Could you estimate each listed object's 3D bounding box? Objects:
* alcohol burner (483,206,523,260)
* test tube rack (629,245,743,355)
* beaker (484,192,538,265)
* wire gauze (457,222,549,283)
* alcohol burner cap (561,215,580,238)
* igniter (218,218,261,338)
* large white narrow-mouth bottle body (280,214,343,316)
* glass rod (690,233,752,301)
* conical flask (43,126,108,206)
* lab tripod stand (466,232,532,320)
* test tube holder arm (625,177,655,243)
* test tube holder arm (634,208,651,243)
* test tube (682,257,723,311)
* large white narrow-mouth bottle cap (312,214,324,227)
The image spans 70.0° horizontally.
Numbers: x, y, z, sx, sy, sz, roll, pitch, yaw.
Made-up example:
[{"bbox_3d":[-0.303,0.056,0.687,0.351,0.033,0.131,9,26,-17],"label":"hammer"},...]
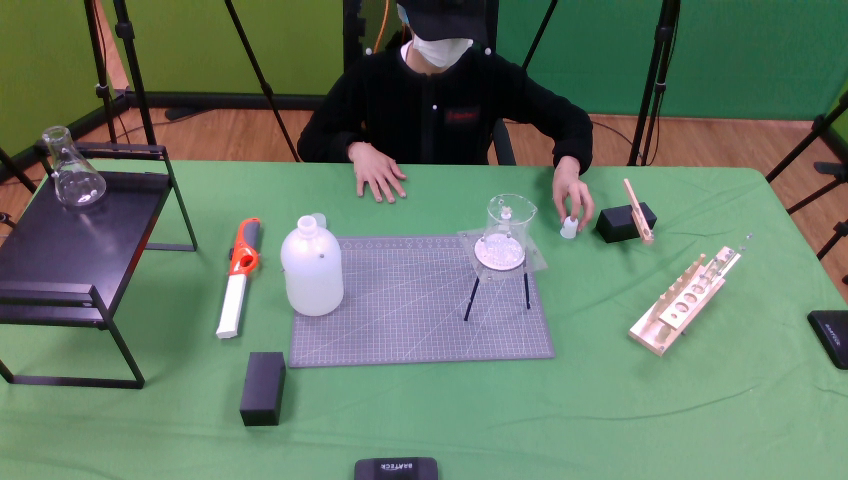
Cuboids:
[{"bbox_3d":[0.152,-0.018,1.156,0.078,0.120,0.077,0,47,0],"label":"alcohol burner"},{"bbox_3d":[0.474,0.095,1.091,0.242,0.085,0.066,-34,56,-31],"label":"test tube rack"},{"bbox_3d":[0.137,-0.016,0.980,0.084,0.101,0.073,-6,45,-9],"label":"beaker"},{"bbox_3d":[0.131,0.016,1.017,0.121,0.011,0.124,-10,44,-16],"label":"wire gauze"},{"bbox_3d":[0.300,-0.030,1.230,0.034,0.048,0.033,2,48,-2],"label":"alcohol burner cap"},{"bbox_3d":[-0.336,0.060,1.111,0.057,0.025,0.274,-7,46,4],"label":"igniter"},{"bbox_3d":[-0.190,0.035,1.025,0.102,0.195,0.101,2,46,-2],"label":"large white narrow-mouth bottle body"},{"bbox_3d":[0.507,0.053,1.041,0.008,0.200,0.008,5,50,-6],"label":"glass rod"},{"bbox_3d":[-0.555,-0.119,0.953,0.075,0.122,0.075,2,46,-2],"label":"conical flask"},{"bbox_3d":[0.125,0.059,1.065,0.148,0.132,0.147,1,45,0],"label":"lab tripod stand"},{"bbox_3d":[0.433,-0.063,1.220,0.013,0.015,0.177,1,47,-3],"label":"test tube holder arm"},{"bbox_3d":[0.428,-0.030,1.189,0.010,0.015,0.087,2,47,-2],"label":"test tube holder arm"},{"bbox_3d":[0.475,0.080,1.037,0.017,0.151,0.017,1,51,-1],"label":"test tube"},{"bbox_3d":[-0.219,-0.033,1.214,0.038,0.024,0.037,2,46,-2],"label":"large white narrow-mouth bottle cap"}]
